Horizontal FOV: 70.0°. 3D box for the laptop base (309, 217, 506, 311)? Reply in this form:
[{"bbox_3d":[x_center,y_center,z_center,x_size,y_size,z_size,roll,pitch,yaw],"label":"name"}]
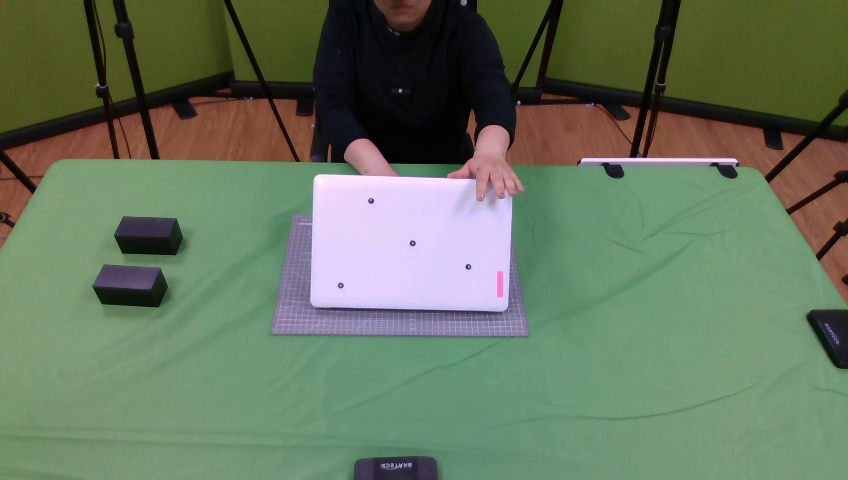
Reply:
[{"bbox_3d":[-0.029,0.044,1.154,0.354,0.023,0.234,2,42,-3],"label":"laptop base"}]

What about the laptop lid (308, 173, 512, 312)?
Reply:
[{"bbox_3d":[-0.023,0.005,1.061,0.357,0.241,0.013,3,1,-3],"label":"laptop lid"}]
